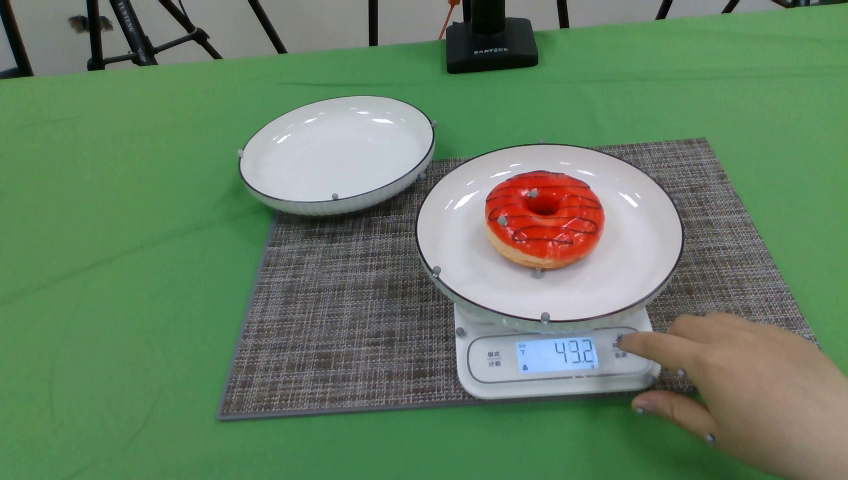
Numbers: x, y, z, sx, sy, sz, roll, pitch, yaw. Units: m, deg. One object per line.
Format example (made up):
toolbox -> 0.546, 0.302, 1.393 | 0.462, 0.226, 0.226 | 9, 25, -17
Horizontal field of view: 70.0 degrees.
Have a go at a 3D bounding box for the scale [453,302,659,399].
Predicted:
scale -> 0.097, 0.035, 0.500 | 0.148, 0.032, 0.199 | -4, 45, 4

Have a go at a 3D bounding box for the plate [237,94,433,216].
plate -> -0.092, -0.090, 0.652 | 0.209, 0.038, 0.207 | -5, 42, 5

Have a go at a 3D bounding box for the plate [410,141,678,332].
plate -> 0.094, -0.005, 0.493 | 0.207, 0.039, 0.205 | -3, 44, 4

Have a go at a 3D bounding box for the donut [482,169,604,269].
donut -> 0.095, -0.017, 0.488 | 0.099, 0.049, 0.098 | -2, 45, 2
